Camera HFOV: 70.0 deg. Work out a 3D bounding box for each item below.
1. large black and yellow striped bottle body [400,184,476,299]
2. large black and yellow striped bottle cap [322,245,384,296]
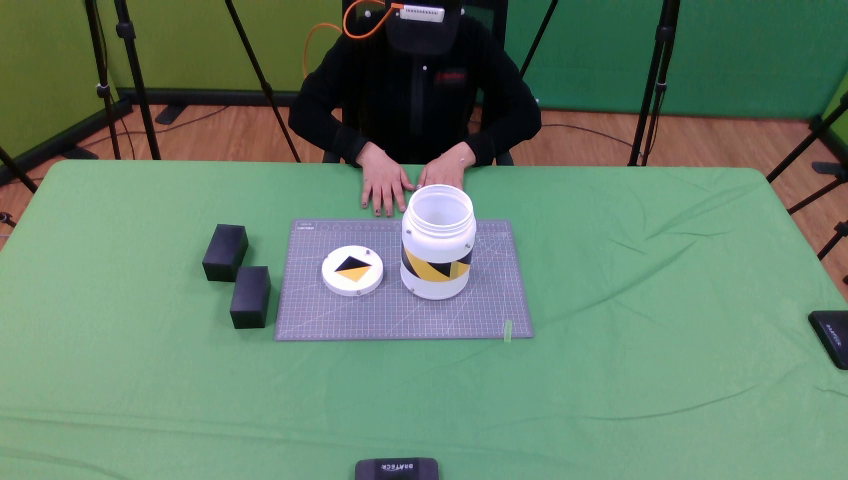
[{"bbox_3d":[0.024,0.003,1.079,0.131,0.185,0.130,2,46,-2],"label":"large black and yellow striped bottle body"},{"bbox_3d":[-0.133,0.055,1.135,0.115,0.019,0.114,2,47,-2],"label":"large black and yellow striped bottle cap"}]
